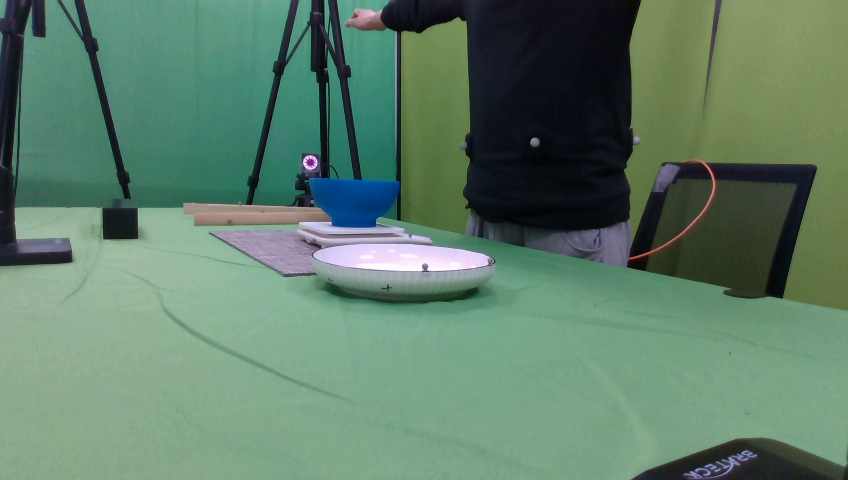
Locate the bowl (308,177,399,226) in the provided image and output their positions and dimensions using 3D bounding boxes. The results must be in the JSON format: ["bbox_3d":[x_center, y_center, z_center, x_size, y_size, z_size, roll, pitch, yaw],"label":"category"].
[{"bbox_3d":[-0.116,-0.064,1.001,0.151,0.077,0.151,2,6,0],"label":"bowl"}]

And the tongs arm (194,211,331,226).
[{"bbox_3d":[-0.298,-0.050,1.307,0.390,0.028,0.028,-3,8,-37],"label":"tongs arm"}]

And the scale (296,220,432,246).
[{"bbox_3d":[-0.101,-0.012,1.017,0.202,0.031,0.148,-1,8,-30],"label":"scale"}]

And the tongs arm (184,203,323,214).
[{"bbox_3d":[-0.337,-0.065,1.376,0.387,0.026,0.050,0,9,-25],"label":"tongs arm"}]

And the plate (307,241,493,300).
[{"bbox_3d":[-0.027,0.034,0.684,0.208,0.039,0.207,2,7,0],"label":"plate"}]
